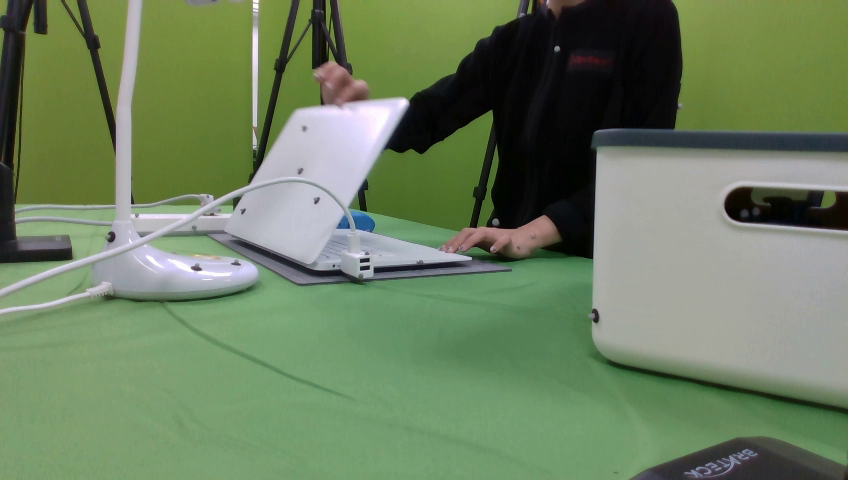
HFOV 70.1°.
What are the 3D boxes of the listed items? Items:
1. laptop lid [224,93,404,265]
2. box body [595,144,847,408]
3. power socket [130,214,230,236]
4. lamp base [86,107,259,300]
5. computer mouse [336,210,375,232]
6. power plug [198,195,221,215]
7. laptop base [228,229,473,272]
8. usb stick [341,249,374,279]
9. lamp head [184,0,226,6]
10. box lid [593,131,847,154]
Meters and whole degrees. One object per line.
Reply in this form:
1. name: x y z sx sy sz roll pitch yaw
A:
1. laptop lid: -0.171 -0.096 0.839 0.013 0.241 0.355 33 -10 -34
2. box body: 0.309 0.007 0.508 0.253 0.160 0.366 6 8 30
3. power socket: -0.397 -0.028 1.048 0.228 0.032 0.072 -3 8 -35
4. lamp base: -0.254 -0.039 0.603 0.160 0.180 0.179 5 10 18
5. computer mouse: -0.152 -0.034 1.139 0.118 0.041 0.062 -6 12 -28
6. power plug: -0.386 -0.055 1.088 0.035 0.052 0.072 -2 6 -24
7. laptop base: -0.124 0.011 0.889 0.237 0.023 0.352 2 6 -35
8. usb stick: -0.079 0.026 0.686 0.021 0.027 0.059 -8 9 -30
9. lamp head: -0.229 -0.320 0.627 0.112 0.112 0.123 6 -36 26
10. box lid: 0.311 -0.067 0.498 0.262 0.015 0.373 6 7 30
